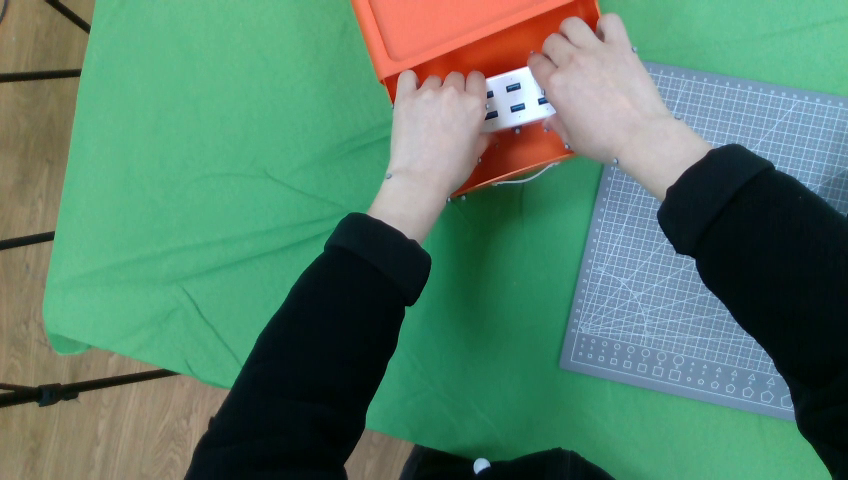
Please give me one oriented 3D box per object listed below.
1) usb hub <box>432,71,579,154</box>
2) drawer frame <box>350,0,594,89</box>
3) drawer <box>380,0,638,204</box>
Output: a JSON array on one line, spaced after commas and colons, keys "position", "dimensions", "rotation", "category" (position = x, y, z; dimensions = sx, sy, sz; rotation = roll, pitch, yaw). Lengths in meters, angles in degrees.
[{"position": [0.072, -0.115, 0.549], "dimensions": [0.125, 0.025, 0.049], "rotation": [14, 94, 3], "category": "usb hub"}, {"position": [0.021, -0.270, 0.528], "dimensions": [0.201, 0.083, 0.213], "rotation": [-21, 93, 9], "category": "drawer frame"}, {"position": [0.059, -0.158, 0.544], "dimensions": [0.194, 0.073, 0.211], "rotation": [-19, 90, 9], "category": "drawer"}]
